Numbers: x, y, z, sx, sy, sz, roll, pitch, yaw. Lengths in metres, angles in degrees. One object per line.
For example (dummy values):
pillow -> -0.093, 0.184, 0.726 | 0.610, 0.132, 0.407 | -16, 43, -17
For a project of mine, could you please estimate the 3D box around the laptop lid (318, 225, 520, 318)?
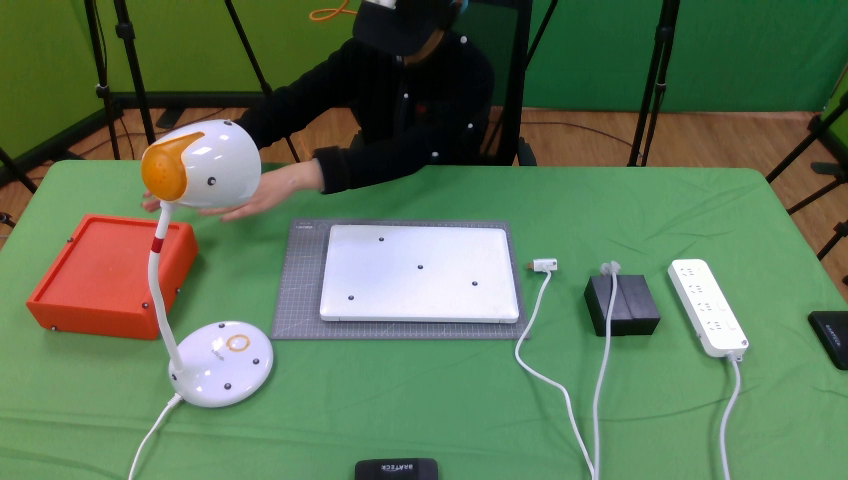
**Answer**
laptop lid -> -0.009, 0.052, 1.131 | 0.357, 0.013, 0.240 | 2, 43, -2

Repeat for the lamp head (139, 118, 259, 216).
lamp head -> -0.282, -0.086, 0.734 | 0.112, 0.113, 0.123 | 21, 25, 16

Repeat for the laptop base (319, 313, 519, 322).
laptop base -> -0.009, 0.062, 1.137 | 0.354, 0.023, 0.234 | 1, 42, -3

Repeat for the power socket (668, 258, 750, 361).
power socket -> 0.517, 0.118, 1.109 | 0.072, 0.033, 0.225 | -2, 46, -4

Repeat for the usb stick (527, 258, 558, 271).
usb stick -> 0.226, 0.047, 1.158 | 0.059, 0.021, 0.027 | -3, 8, 10

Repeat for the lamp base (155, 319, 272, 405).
lamp base -> -0.330, 0.149, 0.918 | 0.160, 0.181, 0.179 | 26, 52, 20

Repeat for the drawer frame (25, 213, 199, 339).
drawer frame -> -0.532, 0.058, 1.061 | 0.202, 0.083, 0.212 | 5, 46, 0

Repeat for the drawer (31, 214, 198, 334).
drawer -> -0.532, 0.056, 1.063 | 0.194, 0.073, 0.210 | 6, 46, 1

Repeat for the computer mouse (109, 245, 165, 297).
computer mouse -> -0.515, 0.052, 1.087 | 0.063, 0.041, 0.116 | 4, 46, 4

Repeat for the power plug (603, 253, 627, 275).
power plug -> 0.366, 0.040, 1.131 | 0.035, 0.072, 0.052 | 40, 53, -10
